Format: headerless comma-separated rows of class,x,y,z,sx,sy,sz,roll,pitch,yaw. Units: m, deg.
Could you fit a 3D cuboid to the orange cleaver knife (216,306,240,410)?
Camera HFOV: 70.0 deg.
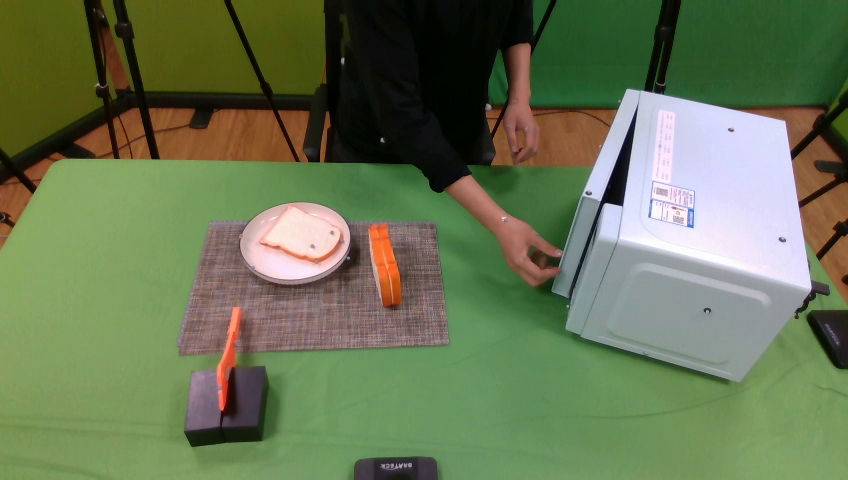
orange cleaver knife,-0.307,0.180,0.957,0.012,0.077,0.210,-2,25,-8

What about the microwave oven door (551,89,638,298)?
microwave oven door,0.326,-0.096,1.137,0.039,0.245,0.354,20,48,14

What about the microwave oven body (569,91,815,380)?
microwave oven body,0.468,-0.022,1.082,0.325,0.261,0.440,15,46,11

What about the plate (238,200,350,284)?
plate,-0.245,0.007,1.156,0.208,0.039,0.206,2,46,-2

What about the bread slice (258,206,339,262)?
bread slice,-0.232,-0.009,1.168,0.134,0.018,0.106,19,51,10

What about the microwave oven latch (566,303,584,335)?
microwave oven latch,0.268,0.126,1.059,0.030,0.029,0.079,16,46,13
